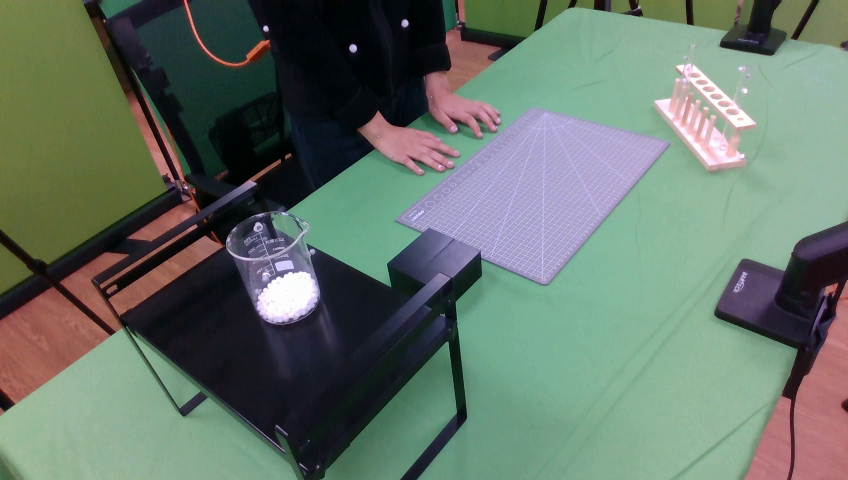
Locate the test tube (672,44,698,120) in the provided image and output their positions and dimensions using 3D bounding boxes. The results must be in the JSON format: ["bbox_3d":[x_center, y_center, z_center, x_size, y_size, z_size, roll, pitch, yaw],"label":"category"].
[{"bbox_3d":[0.484,-0.291,1.122,0.017,0.151,0.017,-2,41,2],"label":"test tube"}]

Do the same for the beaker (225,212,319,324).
[{"bbox_3d":[-0.149,0.031,0.625,0.084,0.101,0.073,-18,42,-13],"label":"beaker"}]

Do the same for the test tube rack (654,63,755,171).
[{"bbox_3d":[0.510,-0.233,1.120,0.067,0.085,0.241,-8,41,-1],"label":"test tube rack"}]

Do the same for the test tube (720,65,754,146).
[{"bbox_3d":[0.533,-0.226,1.032,0.017,0.151,0.017,-1,40,2],"label":"test tube"}]
